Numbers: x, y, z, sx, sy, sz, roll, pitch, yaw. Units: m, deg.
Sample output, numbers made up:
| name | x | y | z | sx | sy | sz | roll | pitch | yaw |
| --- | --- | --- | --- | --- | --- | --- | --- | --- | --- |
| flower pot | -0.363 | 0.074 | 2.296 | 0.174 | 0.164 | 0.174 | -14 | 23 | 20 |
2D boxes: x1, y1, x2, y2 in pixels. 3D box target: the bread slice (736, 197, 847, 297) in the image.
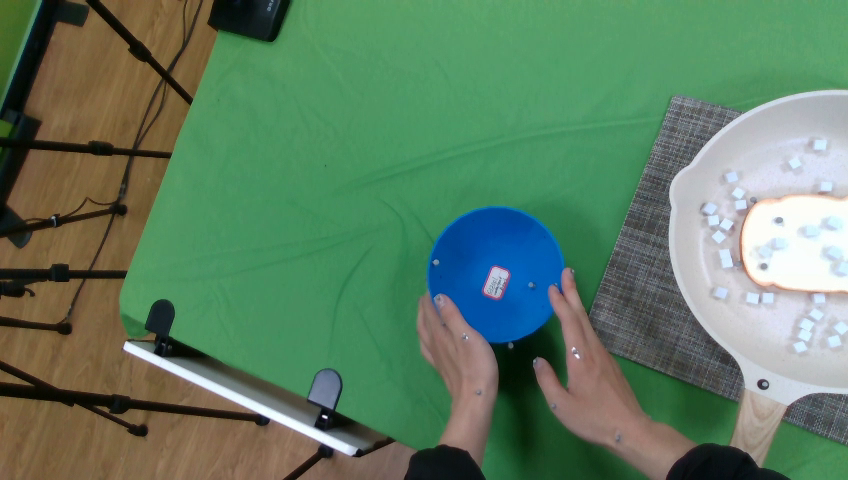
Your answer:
| name | x | y | z | sx | sy | sz | roll | pitch | yaw |
| --- | --- | --- | --- | --- | --- | --- | --- | --- | --- |
| bread slice | 0.397 | 0.009 | 0.626 | 0.134 | 0.018 | 0.106 | -1 | 81 | 14 |

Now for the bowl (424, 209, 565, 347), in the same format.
| name | x | y | z | sx | sy | sz | roll | pitch | yaw |
| --- | --- | --- | --- | --- | --- | --- | --- | --- | --- |
| bowl | 0.081 | 0.047 | 0.685 | 0.151 | 0.077 | 0.150 | -2 | 79 | 9 |

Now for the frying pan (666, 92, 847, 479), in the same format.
| name | x | y | z | sx | sy | sz | roll | pitch | yaw |
| --- | --- | --- | --- | --- | --- | --- | --- | --- | --- |
| frying pan | 0.348 | 0.096 | 0.586 | 0.305 | 0.103 | 0.486 | 23 | 80 | 19 |
